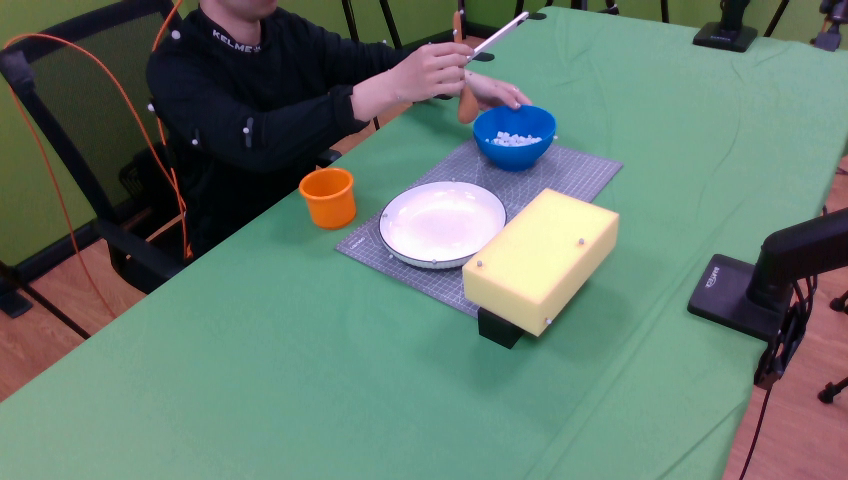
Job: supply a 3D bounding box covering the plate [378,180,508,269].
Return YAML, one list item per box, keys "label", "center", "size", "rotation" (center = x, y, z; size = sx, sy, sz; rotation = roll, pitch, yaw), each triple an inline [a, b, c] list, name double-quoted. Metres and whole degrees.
- label: "plate"
  center: [0.031, -0.022, 0.974]
  size: [0.209, 0.038, 0.208]
  rotation: [-4, 40, 4]

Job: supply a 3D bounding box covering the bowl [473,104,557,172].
- label: "bowl"
  center: [0.166, -0.178, 1.105]
  size: [0.151, 0.077, 0.150]
  rotation: [-4, 40, 4]

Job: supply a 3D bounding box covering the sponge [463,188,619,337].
- label: "sponge"
  center: [0.160, 0.022, 0.814]
  size: [0.117, 0.061, 0.207]
  rotation: [24, 50, 32]

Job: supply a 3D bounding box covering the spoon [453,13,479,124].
- label: "spoon"
  center: [0.064, -0.281, 1.011]
  size: [0.042, 0.194, 0.021]
  rotation: [-19, 35, -10]
